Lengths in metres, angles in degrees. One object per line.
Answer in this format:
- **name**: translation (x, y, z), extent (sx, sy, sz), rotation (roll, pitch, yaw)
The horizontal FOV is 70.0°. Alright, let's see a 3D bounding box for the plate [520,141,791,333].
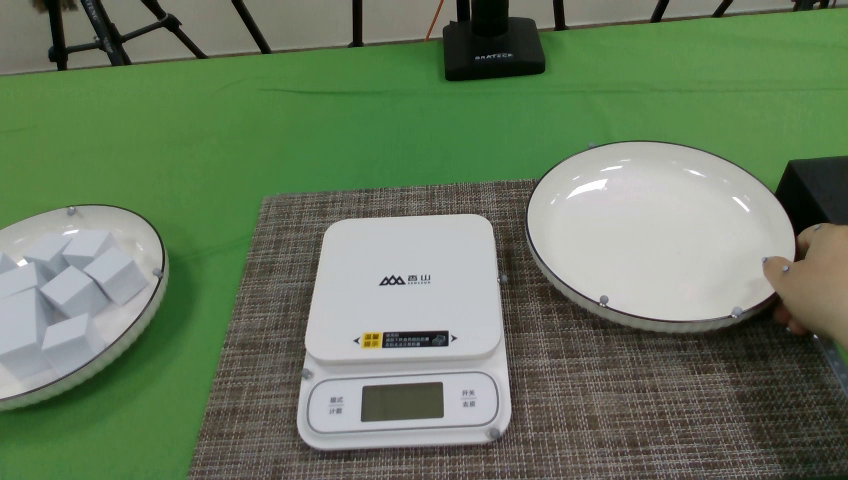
- **plate**: translation (0.185, -0.004, 0.503), extent (0.207, 0.039, 0.205), rotation (-3, 47, 3)

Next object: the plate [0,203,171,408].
- **plate**: translation (-0.315, 0.052, 0.507), extent (0.209, 0.038, 0.207), rotation (-3, 46, 3)

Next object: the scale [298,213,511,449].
- **scale**: translation (-0.014, 0.059, 0.467), extent (0.148, 0.032, 0.199), rotation (-3, 47, 4)
